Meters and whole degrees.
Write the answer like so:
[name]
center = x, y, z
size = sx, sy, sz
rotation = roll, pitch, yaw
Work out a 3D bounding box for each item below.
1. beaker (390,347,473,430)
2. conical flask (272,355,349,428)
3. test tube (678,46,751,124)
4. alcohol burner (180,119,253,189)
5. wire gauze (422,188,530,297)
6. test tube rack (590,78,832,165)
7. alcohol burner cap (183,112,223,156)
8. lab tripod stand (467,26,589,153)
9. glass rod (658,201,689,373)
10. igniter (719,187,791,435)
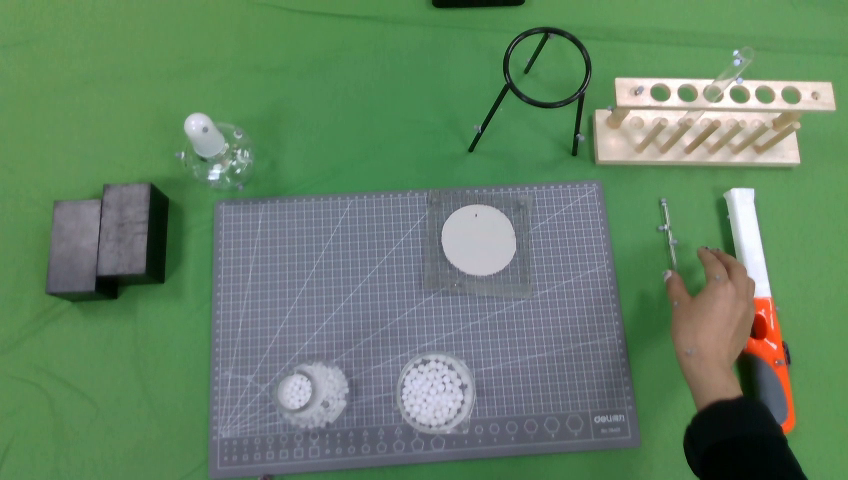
[beaker]
center = 0.009, 0.151, 0.602
size = 0.074, 0.100, 0.083
rotation = -39, 80, -10
[conical flask]
center = -0.115, 0.145, 0.587
size = 0.075, 0.122, 0.075
rotation = 1, 75, -2
[test tube]
center = 0.308, -0.161, 0.652
size = 0.017, 0.151, 0.017
rotation = 0, 75, 1
[alcohol burner]
center = -0.229, -0.100, 0.653
size = 0.078, 0.119, 0.077
rotation = 0, 76, 0
[wire gauze]
center = 0.061, 0.001, 0.690
size = 0.125, 0.011, 0.121
rotation = 5, 75, -4
[test tube rack]
center = 0.324, -0.134, 0.697
size = 0.242, 0.085, 0.066
rotation = 0, 75, -2
[alcohol burner cap]
center = -0.228, -0.111, 0.619
size = 0.034, 0.048, 0.033
rotation = 1, 69, -2
[lab tripod stand]
center = 0.118, -0.157, 0.671
size = 0.148, 0.132, 0.147
rotation = 0, 77, -1
[glass rod]
center = 0.282, 0.050, 0.688
size = 0.008, 0.008, 0.198
rotation = -2, 75, -3
[igniter]
center = 0.368, 0.073, 0.676
size = 0.057, 0.025, 0.275
rotation = 1, 75, -12
